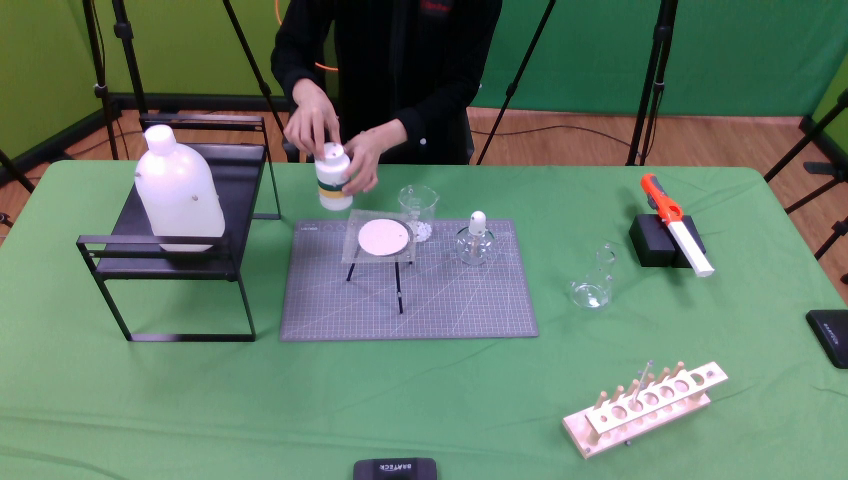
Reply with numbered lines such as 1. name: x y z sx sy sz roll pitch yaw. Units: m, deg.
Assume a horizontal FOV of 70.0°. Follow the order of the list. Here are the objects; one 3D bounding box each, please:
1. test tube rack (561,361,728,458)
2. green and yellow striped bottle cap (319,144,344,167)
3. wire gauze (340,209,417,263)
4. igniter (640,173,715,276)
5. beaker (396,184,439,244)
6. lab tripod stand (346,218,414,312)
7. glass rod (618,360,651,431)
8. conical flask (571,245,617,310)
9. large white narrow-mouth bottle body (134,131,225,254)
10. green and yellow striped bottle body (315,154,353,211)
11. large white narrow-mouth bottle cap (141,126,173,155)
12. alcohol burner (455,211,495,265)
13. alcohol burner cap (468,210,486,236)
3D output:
1. test tube rack: 0.341 0.248 0.940 0.243 0.085 0.066 -15 48 -18
2. green and yellow striped bottle cap: -0.165 -0.151 1.075 0.045 0.020 0.045 3 47 -3
3. wire gauze: -0.074 -0.007 1.023 0.121 0.011 0.124 3 46 0
4. igniter: 0.495 -0.039 1.204 0.057 0.025 0.274 -2 47 -12
5. beaker: -0.014 -0.049 1.186 0.084 0.101 0.073 -7 48 -13
6. lab tripod stand: -0.070 0.037 1.075 0.148 0.132 0.147 1 48 -1
7. glass rod: 0.298 0.227 0.865 0.008 0.201 0.008 -1 48 2
8. conical flask: 0.313 0.064 1.089 0.075 0.122 0.075 2 46 -2
9. large white narrow-mouth bottle body: -0.358 -0.075 0.875 0.102 0.195 0.101 1 48 -1
10. green and yellow striped bottle body: -0.165 -0.116 1.113 0.063 0.120 0.063 2 47 -1
11. large white narrow-mouth bottle cap: -0.356 -0.133 0.810 0.038 0.024 0.037 1 48 -1
12. alcohol burner: 0.097 -0.010 1.147 0.078 0.120 0.077 1 47 -1
13. alcohol burner cap: 0.100 -0.034 1.119 0.034 0.048 0.033 0 53 0
